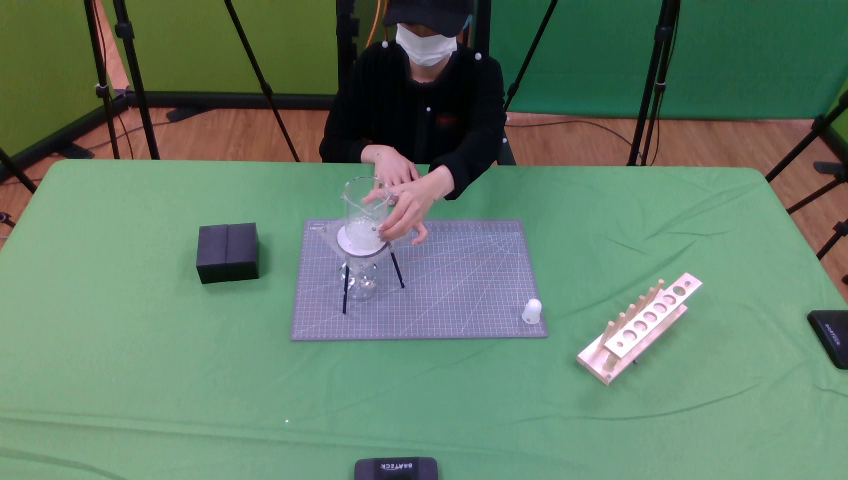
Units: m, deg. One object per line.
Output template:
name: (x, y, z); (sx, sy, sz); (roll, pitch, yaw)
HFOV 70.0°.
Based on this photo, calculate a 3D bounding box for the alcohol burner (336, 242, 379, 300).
alcohol burner: (-0.118, 0.050, 1.072); (0.078, 0.120, 0.077); (2, 44, -1)

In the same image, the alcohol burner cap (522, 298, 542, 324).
alcohol burner cap: (0.193, 0.124, 1.074); (0.034, 0.048, 0.033); (1, 46, -1)

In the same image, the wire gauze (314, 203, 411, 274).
wire gauze: (-0.103, -0.009, 1.023); (0.121, 0.011, 0.124); (-29, 52, -28)

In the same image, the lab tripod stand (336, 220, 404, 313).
lab tripod stand: (-0.110, 0.039, 1.070); (0.148, 0.132, 0.147); (1, 46, -1)

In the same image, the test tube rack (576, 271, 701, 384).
test tube rack: (0.373, 0.138, 1.048); (0.242, 0.085, 0.066); (-31, 56, -29)

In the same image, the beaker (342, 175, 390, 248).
beaker: (-0.094, -0.041, 0.974); (0.074, 0.101, 0.083); (-4, 48, -11)
